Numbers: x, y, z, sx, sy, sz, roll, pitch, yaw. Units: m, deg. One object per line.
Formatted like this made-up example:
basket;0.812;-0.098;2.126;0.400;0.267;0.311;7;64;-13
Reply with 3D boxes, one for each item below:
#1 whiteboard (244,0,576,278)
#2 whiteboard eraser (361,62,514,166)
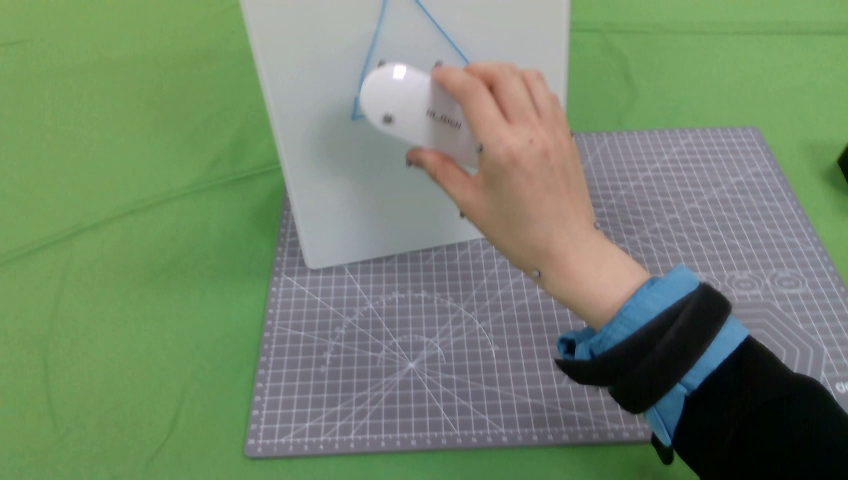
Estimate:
whiteboard;-0.012;-0.153;0.470;0.217;0.308;0.142;-10;33;-7
whiteboard eraser;0.011;-0.077;0.377;0.102;0.041;0.018;18;12;-23
